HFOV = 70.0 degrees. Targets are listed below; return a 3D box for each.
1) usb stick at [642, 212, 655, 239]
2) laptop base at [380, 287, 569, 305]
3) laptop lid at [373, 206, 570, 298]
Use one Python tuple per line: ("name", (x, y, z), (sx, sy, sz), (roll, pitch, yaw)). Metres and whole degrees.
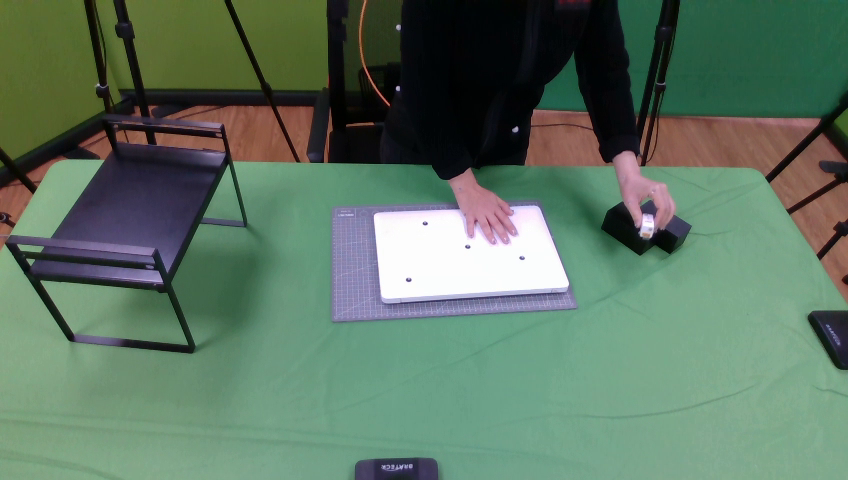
("usb stick", (0.424, -0.026, 1.147), (0.021, 0.027, 0.059), (5, 41, 15))
("laptop base", (0.083, 0.025, 1.181), (0.355, 0.023, 0.234), (-3, 43, -7))
("laptop lid", (0.083, 0.015, 1.175), (0.357, 0.013, 0.240), (-2, 43, -6))
